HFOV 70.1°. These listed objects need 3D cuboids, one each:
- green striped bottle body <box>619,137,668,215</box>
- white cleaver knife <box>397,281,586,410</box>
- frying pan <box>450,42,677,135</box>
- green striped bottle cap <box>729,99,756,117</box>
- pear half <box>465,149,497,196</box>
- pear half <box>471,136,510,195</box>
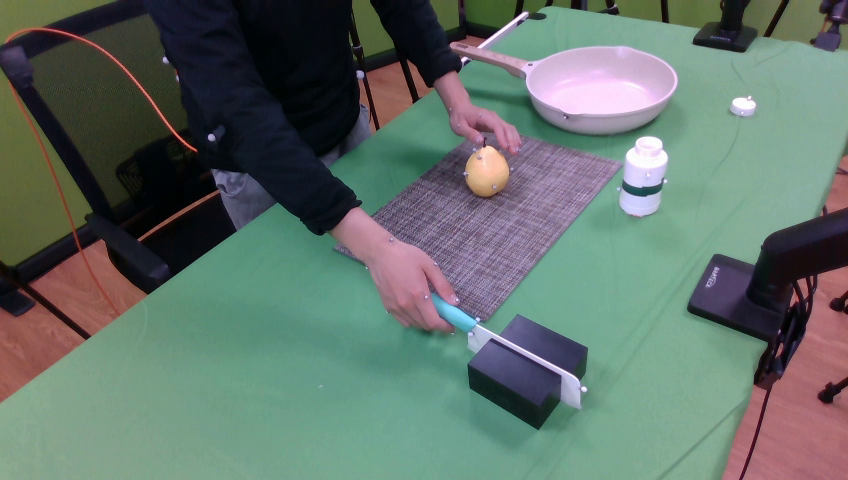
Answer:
[{"bbox_3d":[0.350,-0.103,0.963,0.063,0.120,0.063,-4,41,4],"label":"green striped bottle body"},{"bbox_3d":[0.074,0.131,0.770,0.284,0.066,0.021,28,45,31],"label":"white cleaver knife"},{"bbox_3d":[0.268,-0.344,1.266,0.485,0.103,0.307,26,49,21],"label":"frying pan"},{"bbox_3d":[0.623,-0.259,1.182,0.044,0.020,0.044,-3,40,3],"label":"green striped bottle cap"},{"bbox_3d":[0.091,-0.110,1.025,0.070,0.088,0.031,30,52,30],"label":"pear half"},{"bbox_3d":[0.115,-0.136,1.036,0.076,0.110,0.056,30,52,30],"label":"pear half"}]
